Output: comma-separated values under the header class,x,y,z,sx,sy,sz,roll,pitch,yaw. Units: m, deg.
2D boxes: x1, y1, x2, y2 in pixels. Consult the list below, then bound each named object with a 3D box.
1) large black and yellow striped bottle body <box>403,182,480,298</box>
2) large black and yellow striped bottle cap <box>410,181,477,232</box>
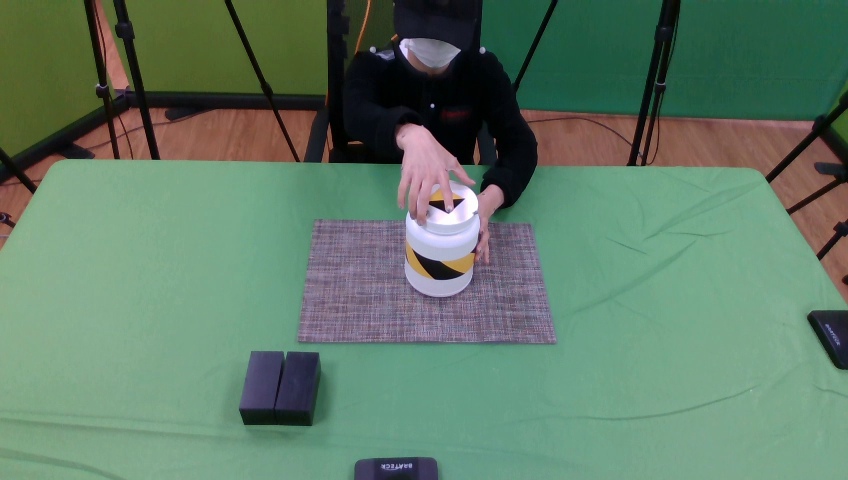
class,x,y,z,sx,sy,sz,roll,pitch,yaw
large black and yellow striped bottle body,0.030,0.000,1.083,0.131,0.185,0.130,2,46,-2
large black and yellow striped bottle cap,0.033,-0.058,1.022,0.115,0.019,0.114,3,44,-2
